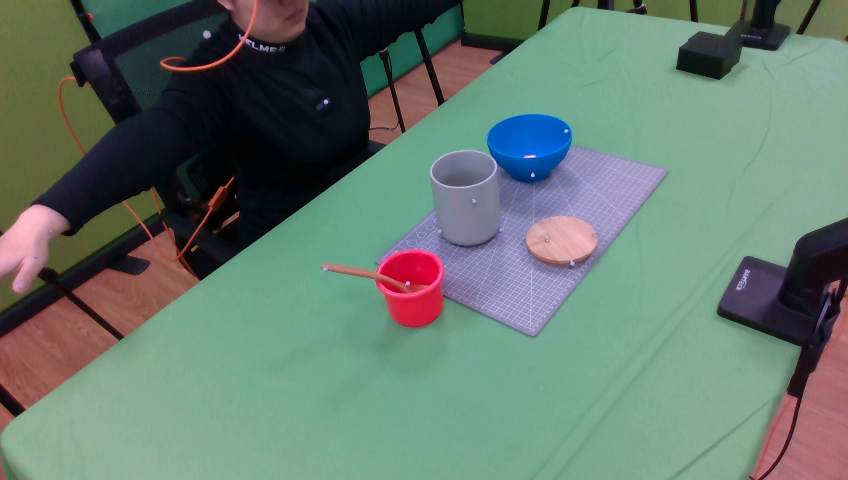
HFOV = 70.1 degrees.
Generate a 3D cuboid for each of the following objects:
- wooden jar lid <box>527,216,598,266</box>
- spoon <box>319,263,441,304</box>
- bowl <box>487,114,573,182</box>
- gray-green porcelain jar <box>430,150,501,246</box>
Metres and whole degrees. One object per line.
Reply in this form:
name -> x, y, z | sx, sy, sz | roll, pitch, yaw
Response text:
wooden jar lid -> 0.214, 0.003, 0.936 | 0.108, 0.021, 0.108 | -4, 40, 4
spoon -> -0.056, 0.056, 0.833 | 0.195, 0.021, 0.041 | 22, 27, -35
bowl -> 0.190, -0.156, 1.085 | 0.151, 0.077, 0.150 | -5, 40, 5
gray-green porcelain jar -> 0.068, -0.062, 0.958 | 0.106, 0.127, 0.105 | -5, 40, 5
